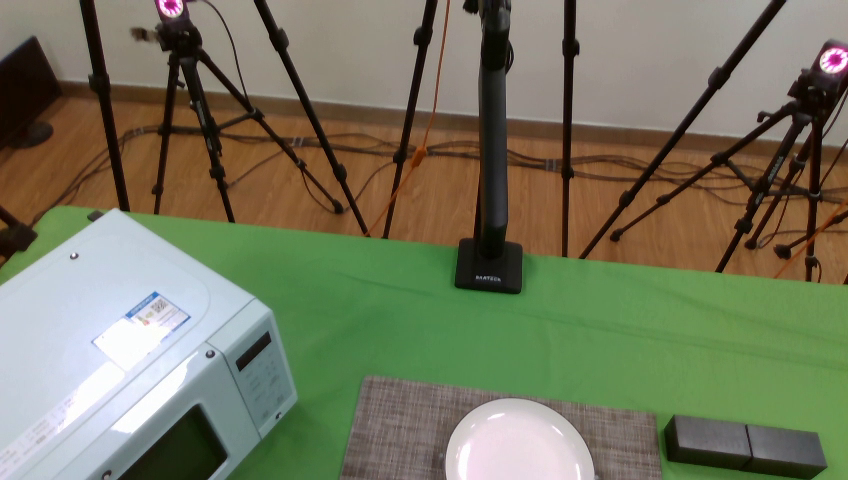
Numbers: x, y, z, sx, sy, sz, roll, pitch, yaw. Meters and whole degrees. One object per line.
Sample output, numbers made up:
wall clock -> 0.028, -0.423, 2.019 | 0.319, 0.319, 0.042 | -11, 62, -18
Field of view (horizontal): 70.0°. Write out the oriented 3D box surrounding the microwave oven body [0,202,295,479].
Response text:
microwave oven body -> -0.441, 0.218, 0.768 | 0.324, 0.262, 0.440 | 28, 55, 21

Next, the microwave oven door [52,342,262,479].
microwave oven door -> -0.345, 0.304, 0.689 | 0.039, 0.246, 0.355 | 28, 54, 22

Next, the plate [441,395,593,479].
plate -> 0.127, 0.318, 0.844 | 0.208, 0.039, 0.205 | 1, 49, -1

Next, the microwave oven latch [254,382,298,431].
microwave oven latch -> -0.219, 0.238, 0.886 | 0.030, 0.030, 0.079 | 30, 55, 22
